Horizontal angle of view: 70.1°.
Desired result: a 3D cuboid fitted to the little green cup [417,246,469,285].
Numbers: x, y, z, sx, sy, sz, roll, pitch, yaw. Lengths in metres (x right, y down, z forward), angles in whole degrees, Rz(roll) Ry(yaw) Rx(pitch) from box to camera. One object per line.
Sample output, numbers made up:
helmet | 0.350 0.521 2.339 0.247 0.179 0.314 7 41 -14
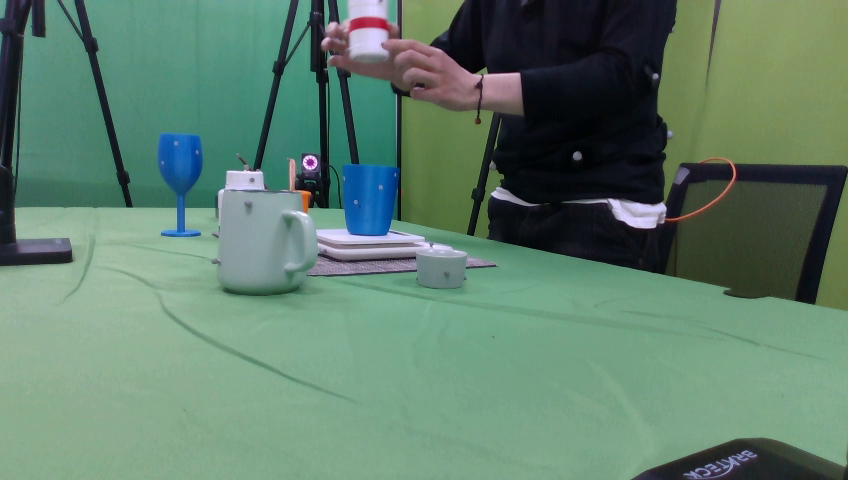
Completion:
little green cup | 0.021 0.029 0.701 0.061 0.038 0.061 2 5 0

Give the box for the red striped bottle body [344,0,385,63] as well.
red striped bottle body | -0.096 -0.351 0.968 0.063 0.119 0.063 -2 4 0

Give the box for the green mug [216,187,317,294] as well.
green mug | -0.157 0.000 0.629 0.124 0.105 0.093 7 9 37

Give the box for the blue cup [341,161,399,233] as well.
blue cup | -0.080 -0.062 0.883 0.093 0.100 0.092 2 4 0

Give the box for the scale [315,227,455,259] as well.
scale | -0.066 0.001 0.906 0.202 0.031 0.148 -2 8 -31

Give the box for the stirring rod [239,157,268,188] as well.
stirring rod | -0.309 -0.098 1.209 0.006 0.177 0.014 -39 29 -5

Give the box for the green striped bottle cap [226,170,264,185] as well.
green striped bottle cap | -0.222 -0.076 0.748 0.044 0.020 0.044 1 7 0

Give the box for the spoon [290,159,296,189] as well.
spoon | -0.273 -0.102 1.252 0.042 0.193 0.021 7 -38 -17

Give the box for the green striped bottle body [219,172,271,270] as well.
green striped bottle body | -0.223 -0.025 0.755 0.063 0.119 0.063 2 7 0

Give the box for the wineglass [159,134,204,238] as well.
wineglass | -0.415 -0.093 1.040 0.074 0.172 0.073 2 7 0
